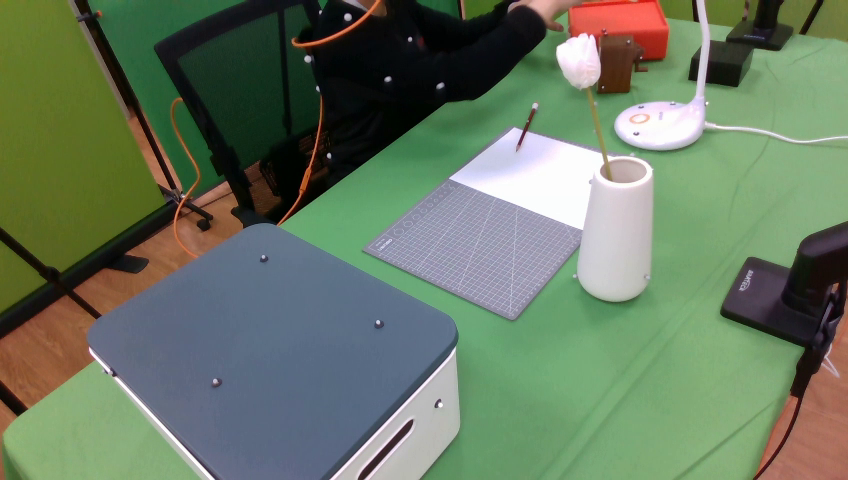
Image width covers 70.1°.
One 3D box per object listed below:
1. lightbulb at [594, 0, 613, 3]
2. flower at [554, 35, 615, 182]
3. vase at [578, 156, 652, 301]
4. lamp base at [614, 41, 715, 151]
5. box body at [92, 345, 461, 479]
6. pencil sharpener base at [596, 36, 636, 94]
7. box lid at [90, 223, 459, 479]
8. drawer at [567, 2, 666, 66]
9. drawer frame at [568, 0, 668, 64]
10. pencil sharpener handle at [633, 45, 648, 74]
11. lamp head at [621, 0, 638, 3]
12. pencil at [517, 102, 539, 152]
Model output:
[{"bbox_3d":[0.305,-0.437,0.977,0.060,0.107,0.059,12,45,-11],"label":"lightbulb"},{"bbox_3d":[0.237,-0.083,0.774,0.044,0.363,0.038,-22,26,7],"label":"flower"},{"bbox_3d":[0.261,-0.011,0.812,0.098,0.201,0.097,-4,40,4],"label":"vase"},{"bbox_3d":[0.449,-0.277,1.106,0.179,0.181,0.160,1,41,9],"label":"lamp base"},{"bbox_3d":[-0.162,0.170,0.708,0.361,0.161,0.255,25,50,34],"label":"box body"},{"bbox_3d":[0.405,-0.369,1.280,0.076,0.107,0.061,2,41,13],"label":"pencil sharpener base"},{"bbox_3d":[-0.174,0.102,0.666,0.368,0.015,0.264,24,48,35],"label":"box lid"},{"bbox_3d":[0.448,-0.494,1.441,0.211,0.073,0.194,-1,40,10],"label":"drawer"},{"bbox_3d":[0.450,-0.496,1.441,0.213,0.083,0.201,-1,40,9],"label":"drawer frame"},{"bbox_3d":[0.454,-0.378,1.262,0.030,0.068,0.036,2,47,13],"label":"pencil sharpener handle"},{"bbox_3d":[0.319,-0.453,0.962,0.113,0.123,0.112,20,33,-13],"label":"lamp head"},{"bbox_3d":[0.210,-0.230,1.229,0.012,0.012,0.194,8,43,19],"label":"pencil"}]
